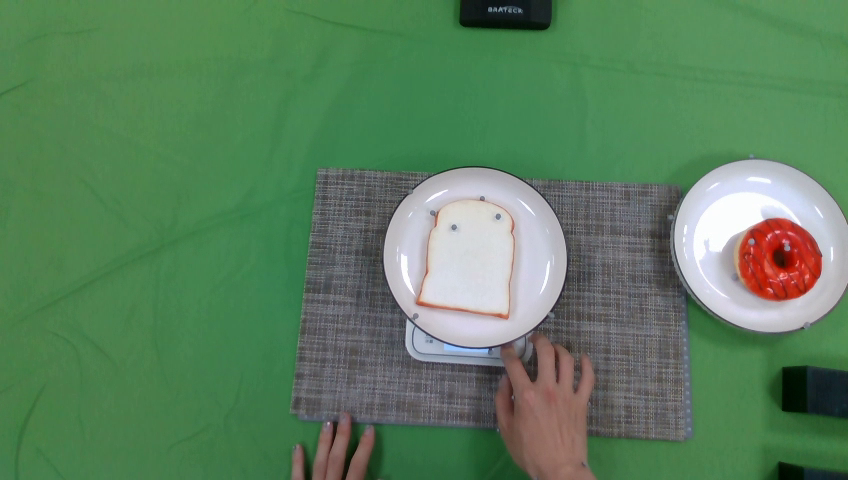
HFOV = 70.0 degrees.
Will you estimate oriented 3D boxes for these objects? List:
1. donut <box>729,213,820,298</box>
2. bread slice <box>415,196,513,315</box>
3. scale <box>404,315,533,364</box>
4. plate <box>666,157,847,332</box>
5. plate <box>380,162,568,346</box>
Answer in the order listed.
[{"bbox_3d":[0.403,0.019,0.699,0.099,0.048,0.098,0,82,0],"label":"donut"},{"bbox_3d":[0.050,0.014,0.688,0.105,0.019,0.131,7,79,1],"label":"bread slice"},{"bbox_3d":[0.056,0.041,0.714,0.148,0.032,0.200,4,78,2],"label":"scale"},{"bbox_3d":[0.387,0.006,0.714,0.207,0.039,0.206,0,78,1],"label":"plate"},{"bbox_3d":[0.055,0.015,0.685,0.209,0.038,0.208,0,78,1],"label":"plate"}]
